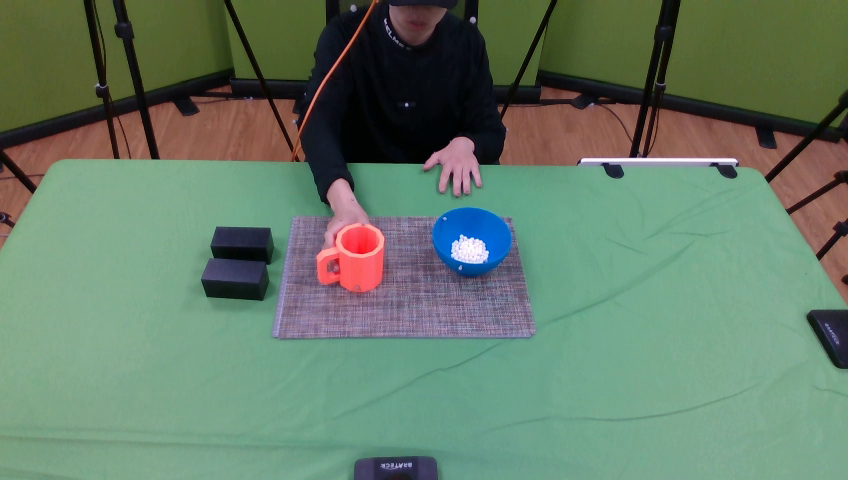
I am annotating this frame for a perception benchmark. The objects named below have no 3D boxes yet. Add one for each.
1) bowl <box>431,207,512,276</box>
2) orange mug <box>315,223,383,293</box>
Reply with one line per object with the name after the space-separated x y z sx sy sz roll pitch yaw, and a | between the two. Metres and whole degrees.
0.086 0.016 1.147 0.151 0.077 0.150 3 46 -3 | bowl
-0.134 0.037 1.093 0.126 0.101 0.083 -13 49 -24 | orange mug
